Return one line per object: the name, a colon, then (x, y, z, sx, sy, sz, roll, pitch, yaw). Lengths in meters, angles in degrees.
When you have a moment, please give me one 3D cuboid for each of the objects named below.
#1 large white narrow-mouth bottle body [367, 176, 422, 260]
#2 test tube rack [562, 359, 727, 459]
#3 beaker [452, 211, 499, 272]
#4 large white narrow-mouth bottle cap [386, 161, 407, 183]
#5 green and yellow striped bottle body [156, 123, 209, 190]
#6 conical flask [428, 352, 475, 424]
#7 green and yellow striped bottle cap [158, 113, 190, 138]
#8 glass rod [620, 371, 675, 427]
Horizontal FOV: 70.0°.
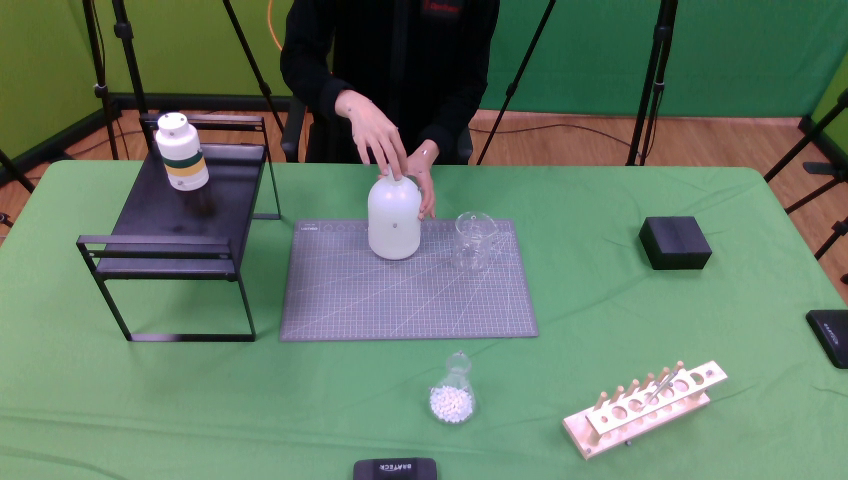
large white narrow-mouth bottle body: (-0.055, -0.058, 1.127, 0.102, 0.195, 0.101, 3, 45, -3)
test tube rack: (0.341, 0.247, 0.940, 0.243, 0.085, 0.066, -16, 49, -18)
beaker: (0.093, 0.006, 1.141, 0.084, 0.101, 0.073, 8, 47, 3)
large white narrow-mouth bottle cap: (-0.048, -0.121, 1.065, 0.038, 0.024, 0.037, 3, 45, -3)
green and yellow striped bottle body: (-0.395, -0.145, 0.989, 0.063, 0.120, 0.063, 2, 46, -2)
conical flask: (0.046, 0.220, 0.920, 0.075, 0.122, 0.075, 2, 46, -2)
green and yellow striped bottle cap: (-0.393, -0.180, 0.951, 0.045, 0.020, 0.045, 2, 44, -2)
glass rod: (0.316, 0.230, 0.863, 0.008, 0.200, 0.008, 3, 54, -3)
